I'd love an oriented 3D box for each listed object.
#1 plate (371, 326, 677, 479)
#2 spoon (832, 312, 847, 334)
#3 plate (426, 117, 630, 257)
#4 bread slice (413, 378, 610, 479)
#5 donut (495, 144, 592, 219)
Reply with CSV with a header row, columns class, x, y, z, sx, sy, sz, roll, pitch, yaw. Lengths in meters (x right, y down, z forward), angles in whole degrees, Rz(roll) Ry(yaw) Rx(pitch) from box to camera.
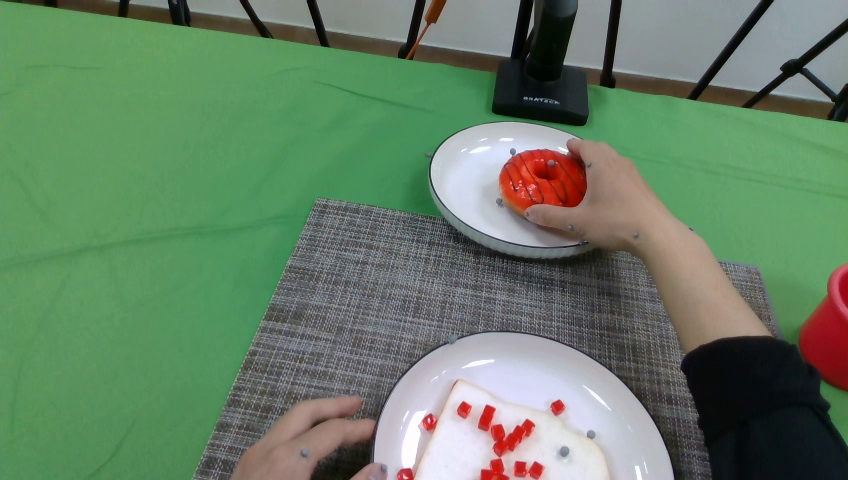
class,x,y,z,sx,sy,sz,roll,pitch,yaw
plate,0.067,0.155,0.425,0.209,0.038,0.207,3,47,-3
spoon,0.361,0.075,0.463,0.041,0.021,0.194,25,5,16
plate,0.104,-0.054,0.629,0.208,0.039,0.205,4,44,-3
bread slice,0.064,0.158,0.425,0.131,0.019,0.104,17,48,13
donut,0.121,-0.059,0.615,0.099,0.048,0.098,3,42,-2
